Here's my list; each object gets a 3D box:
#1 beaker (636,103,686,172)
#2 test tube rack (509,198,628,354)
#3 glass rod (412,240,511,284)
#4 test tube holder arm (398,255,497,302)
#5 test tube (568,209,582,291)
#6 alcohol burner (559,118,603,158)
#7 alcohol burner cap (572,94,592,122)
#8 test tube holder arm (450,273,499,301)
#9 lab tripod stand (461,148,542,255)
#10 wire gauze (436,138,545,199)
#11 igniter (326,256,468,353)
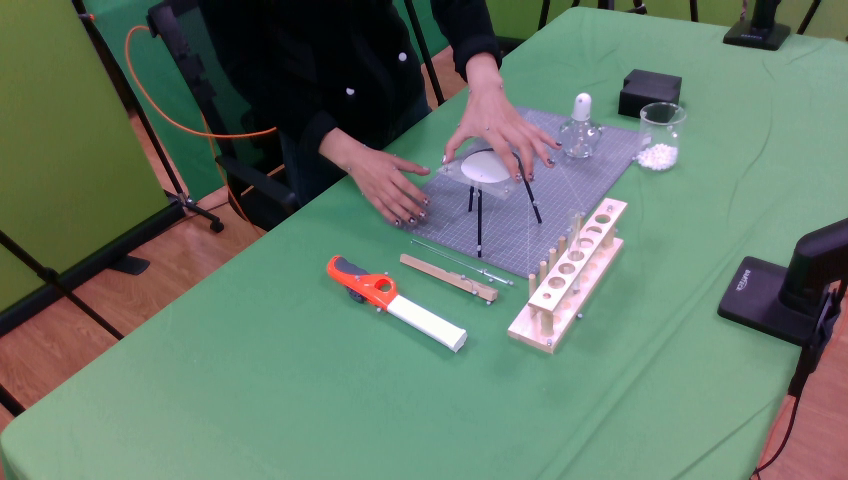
[{"bbox_3d":[0.413,-0.177,1.055,0.084,0.101,0.073,-28,44,-21],"label":"beaker"},{"bbox_3d":[0.206,0.039,0.850,0.066,0.085,0.243,20,48,31],"label":"test tube rack"},{"bbox_3d":[0.053,0.033,0.947,0.198,0.008,0.008,22,50,36],"label":"glass rod"},{"bbox_3d":[0.031,0.055,0.913,0.177,0.015,0.013,21,12,31],"label":"test tube holder arm"},{"bbox_3d":[0.200,0.017,0.799,0.017,0.151,0.017,-8,45,8],"label":"test tube"},{"bbox_3d":[0.287,-0.212,1.104,0.078,0.119,0.077,-4,40,4],"label":"alcohol burner"},{"bbox_3d":[0.284,-0.238,1.079,0.034,0.048,0.033,-1,48,2],"label":"alcohol burner cap"},{"bbox_3d":[0.070,0.069,0.894,0.087,0.015,0.010,21,12,32],"label":"test tube holder arm"},{"bbox_3d":[0.114,-0.069,0.953,0.148,0.132,0.147,-5,38,4],"label":"lab tripod stand"},{"bbox_3d":[0.100,-0.114,0.905,0.124,0.011,0.122,22,47,31],"label":"wire gauze"},{"bbox_3d":[-0.051,0.088,0.886,0.274,0.025,0.057,26,61,35],"label":"igniter"}]
